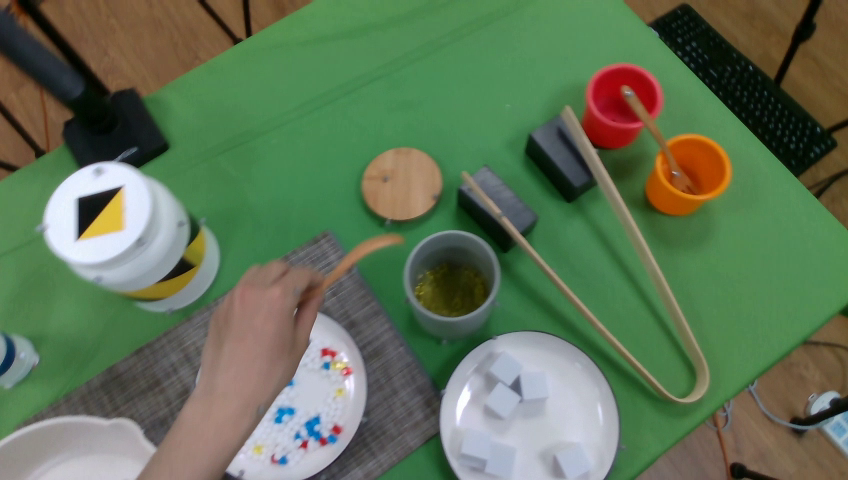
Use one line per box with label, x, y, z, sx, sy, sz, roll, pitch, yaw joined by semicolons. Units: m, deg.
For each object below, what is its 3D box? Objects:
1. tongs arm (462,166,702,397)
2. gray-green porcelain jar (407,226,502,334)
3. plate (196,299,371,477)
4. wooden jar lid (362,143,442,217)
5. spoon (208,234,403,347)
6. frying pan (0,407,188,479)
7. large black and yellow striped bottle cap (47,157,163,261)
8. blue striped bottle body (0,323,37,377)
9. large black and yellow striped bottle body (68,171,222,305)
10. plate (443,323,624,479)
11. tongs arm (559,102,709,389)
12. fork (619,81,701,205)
tongs arm;0.187;0.045;0.737;0.051;0.026;0.384;-38;85;-12
gray-green porcelain jar;0.035;0.053;0.722;0.106;0.127;0.105;0;71;2
plate;-0.166;0.175;0.730;0.209;0.038;0.208;0;72;2
wooden jar lid;-0.029;-0.081;0.824;0.108;0.021;0.107;0;73;1
spoon;-0.102;0.044;0.542;0.194;0.041;0.022;-34;99;-16
frying pan;-0.292;0.370;0.634;0.485;0.103;0.306;22;75;17
large black and yellow striped bottle cap;-0.338;-0.034;0.642;0.115;0.019;0.114;0;73;1
blue striped bottle body;-0.525;0.124;0.717;0.063;0.121;0.062;0;71;2
large black and yellow striped bottle body;-0.335;-0.005;0.722;0.131;0.185;0.130;-1;71;2
plate;0.127;0.203;0.716;0.207;0.039;0.206;-1;72;2
tongs arm;0.257;0.000;0.752;0.028;0.028;0.386;-23;82;-14
fork;0.297;-0.119;0.758;0.028;0.018;0.209;-46;120;-5
